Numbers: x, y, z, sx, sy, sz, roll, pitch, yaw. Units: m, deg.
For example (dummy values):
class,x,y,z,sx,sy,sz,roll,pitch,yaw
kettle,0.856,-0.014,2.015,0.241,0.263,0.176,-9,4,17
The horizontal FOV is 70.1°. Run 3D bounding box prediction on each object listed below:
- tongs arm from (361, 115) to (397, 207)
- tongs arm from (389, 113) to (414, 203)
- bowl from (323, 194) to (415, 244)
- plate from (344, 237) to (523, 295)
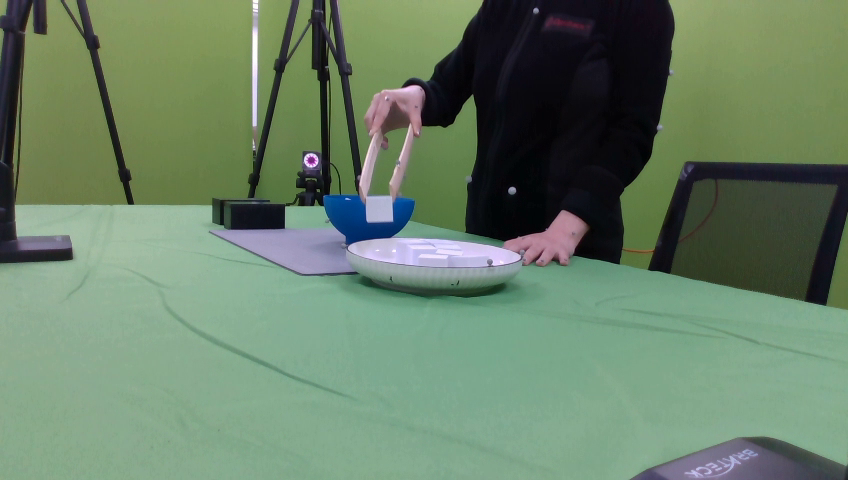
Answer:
class,x,y,z,sx,sy,sz,roll,pitch,yaw
tongs arm,-0.067,-0.131,0.913,0.028,0.028,0.387,-15,23,8
tongs arm,-0.044,-0.135,0.911,0.051,0.026,0.384,-10,24,10
bowl,-0.091,-0.032,0.986,0.151,0.077,0.151,2,7,0
plate,0.010,0.030,0.707,0.208,0.039,0.207,3,8,0
